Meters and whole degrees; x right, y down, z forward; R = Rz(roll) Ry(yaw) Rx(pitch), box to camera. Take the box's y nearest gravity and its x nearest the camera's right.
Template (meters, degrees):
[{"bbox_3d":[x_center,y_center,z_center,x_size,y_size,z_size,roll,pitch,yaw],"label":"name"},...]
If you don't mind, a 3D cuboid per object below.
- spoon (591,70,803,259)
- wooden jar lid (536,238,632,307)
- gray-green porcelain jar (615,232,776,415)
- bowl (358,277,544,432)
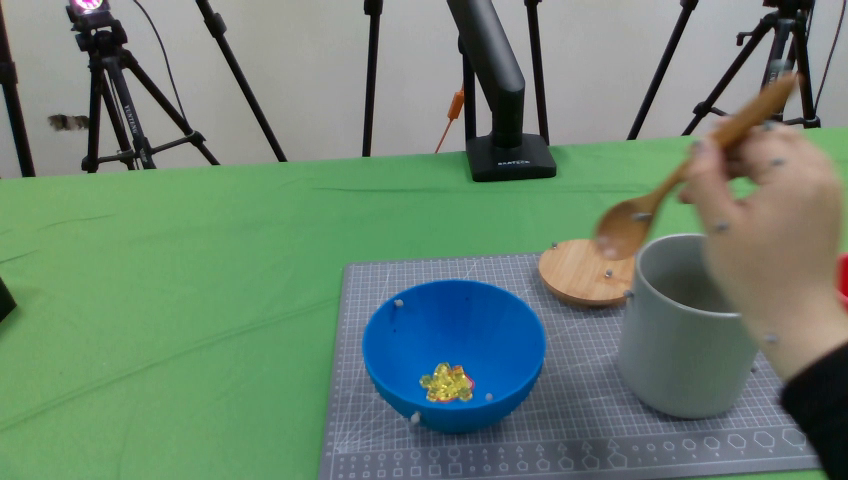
[{"bbox_3d":[0.159,-0.038,0.381,0.022,0.194,0.041,-5,67,-16],"label":"spoon"},{"bbox_3d":[0.176,0.036,0.655,0.108,0.021,0.107,-2,34,2],"label":"wooden jar lid"},{"bbox_3d":[0.218,0.073,0.505,0.106,0.127,0.105,-2,36,2],"label":"gray-green porcelain jar"},{"bbox_3d":[0.024,0.108,0.513,0.151,0.077,0.150,-2,36,2],"label":"bowl"}]
